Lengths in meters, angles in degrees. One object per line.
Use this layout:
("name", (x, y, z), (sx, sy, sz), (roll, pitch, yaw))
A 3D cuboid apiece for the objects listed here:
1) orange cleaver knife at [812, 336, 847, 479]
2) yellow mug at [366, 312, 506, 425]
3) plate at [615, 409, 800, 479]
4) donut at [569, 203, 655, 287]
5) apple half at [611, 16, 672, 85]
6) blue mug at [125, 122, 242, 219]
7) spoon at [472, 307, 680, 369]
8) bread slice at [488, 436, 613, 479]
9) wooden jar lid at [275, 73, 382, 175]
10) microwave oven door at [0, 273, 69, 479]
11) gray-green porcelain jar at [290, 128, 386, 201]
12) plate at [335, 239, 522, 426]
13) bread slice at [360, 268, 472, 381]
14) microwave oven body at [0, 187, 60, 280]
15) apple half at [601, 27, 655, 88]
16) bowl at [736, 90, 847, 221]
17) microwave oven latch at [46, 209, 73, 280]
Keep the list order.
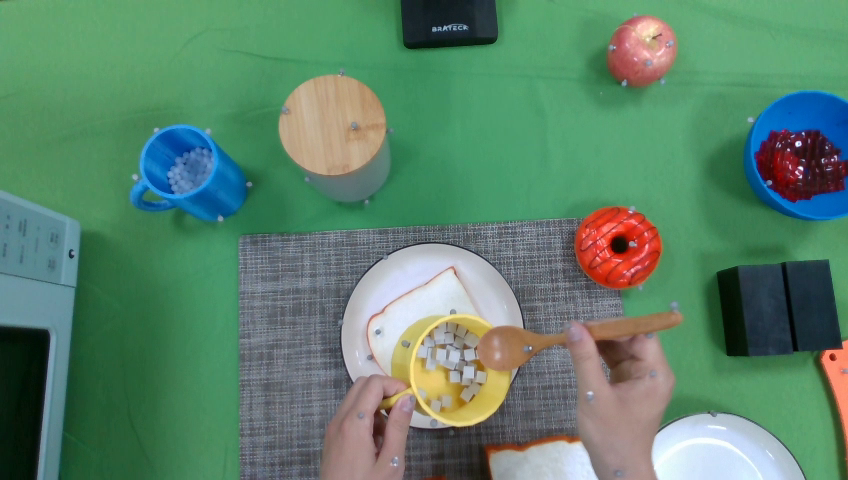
("orange cleaver knife", (0.492, 0.214, 0.690), (0.077, 0.012, 0.210), (-1, 79, -8))
("yellow mug", (0.006, 0.125, 0.567), (0.131, 0.064, 0.100), (-23, 91, -19))
("plate", (0.308, 0.290, 0.665), (0.209, 0.038, 0.208), (0, 80, 0))
("donut", (0.217, 0.006, 0.705), (0.099, 0.048, 0.098), (0, 81, -1))
("apple half", (0.266, -0.233, 0.735), (0.053, 0.075, 0.080), (-35, 78, -12))
("blue mug", (-0.275, -0.067, 0.683), (0.116, 0.106, 0.082), (-28, 81, -5))
("spoon", (0.114, 0.078, 0.494), (0.022, 0.193, 0.041), (4, 74, -41))
("bread slice", (0.141, 0.268, 0.640), (0.135, 0.018, 0.106), (-7, 77, -22))
("wooden jar lid", (-0.097, -0.117, 0.620), (0.108, 0.021, 0.108), (0, 78, 0))
("microwave oven door", (-0.421, 0.203, 0.548), (0.039, 0.244, 0.354), (0, 80, 0))
("gray-green porcelain jar", (-0.097, -0.105, 0.682), (0.106, 0.127, 0.105), (0, 80, 0))
("plate", (0.005, 0.103, 0.689), (0.208, 0.039, 0.207), (0, 80, -1))
("bread slice", (-0.004, 0.106, 0.691), (0.131, 0.019, 0.104), (-28, 80, -8))
("microwave oven body", (-0.567, 0.161, 0.558), (0.326, 0.261, 0.440), (0, 81, -1))
("apple half", (0.236, -0.210, 0.729), (0.033, 0.081, 0.081), (-36, 82, -11))
("bowl", (0.430, -0.089, 0.710), (0.151, 0.077, 0.151), (0, 81, 0))
("microwave oven latch", (-0.418, 0.005, 0.685), (0.030, 0.029, 0.079), (2, 81, -1))
